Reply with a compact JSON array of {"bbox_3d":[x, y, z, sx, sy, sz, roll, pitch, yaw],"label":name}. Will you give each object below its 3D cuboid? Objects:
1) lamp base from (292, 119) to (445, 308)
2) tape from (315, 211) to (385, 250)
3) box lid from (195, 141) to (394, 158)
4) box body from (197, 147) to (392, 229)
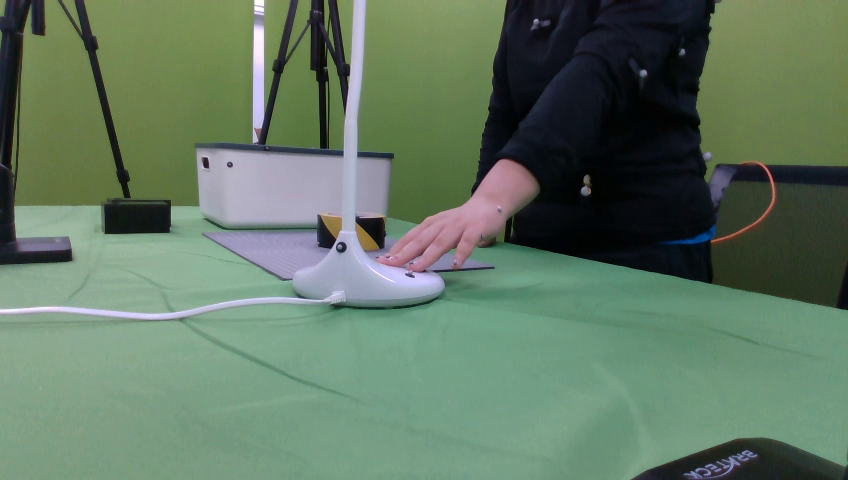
[{"bbox_3d":[-0.056,-0.030,0.616,0.160,0.180,0.179,3,10,8],"label":"lamp base"},{"bbox_3d":[-0.119,-0.017,0.973,0.117,0.052,0.117,2,7,0],"label":"tape"},{"bbox_3d":[-0.277,-0.189,1.282,0.373,0.015,0.262,-1,8,-30],"label":"box lid"},{"bbox_3d":[-0.278,-0.117,1.292,0.366,0.160,0.253,-2,8,-30],"label":"box body"}]
